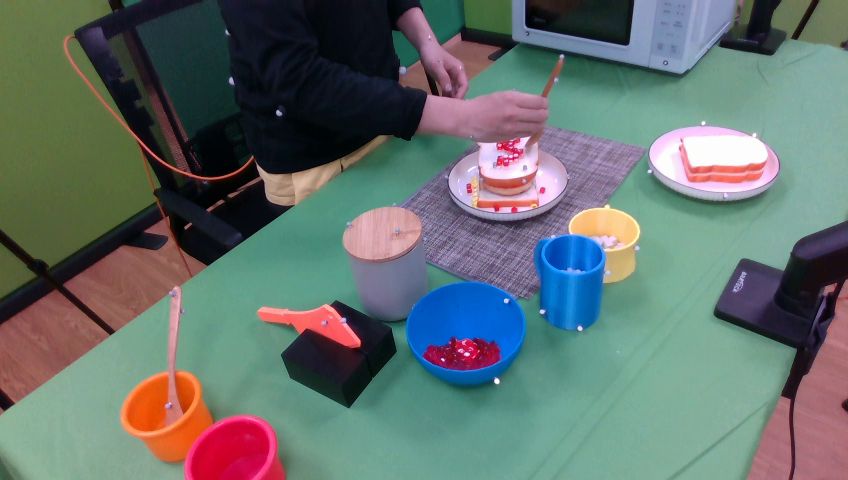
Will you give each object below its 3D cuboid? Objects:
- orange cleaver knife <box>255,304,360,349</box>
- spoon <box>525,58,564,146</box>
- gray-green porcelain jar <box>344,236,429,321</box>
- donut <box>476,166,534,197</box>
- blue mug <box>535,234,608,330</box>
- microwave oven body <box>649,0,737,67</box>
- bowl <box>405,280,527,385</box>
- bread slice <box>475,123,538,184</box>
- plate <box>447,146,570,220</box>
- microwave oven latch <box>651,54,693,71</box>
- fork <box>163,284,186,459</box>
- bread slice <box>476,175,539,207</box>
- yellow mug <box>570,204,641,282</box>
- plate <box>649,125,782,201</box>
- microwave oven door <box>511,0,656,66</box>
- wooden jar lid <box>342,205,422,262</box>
[{"bbox_3d":[-0.161,0.115,0.813,0.210,0.077,0.012,-4,32,47],"label":"orange cleaver knife"},{"bbox_3d":[0.181,-0.205,0.920,0.021,0.194,0.041,27,65,12],"label":"spoon"},{"bbox_3d":[-0.049,0.042,0.849,0.106,0.127,0.105,-4,41,4],"label":"gray-green porcelain jar"},{"bbox_3d":[0.138,-0.116,1.025,0.099,0.048,0.098,-8,55,12],"label":"donut"},{"bbox_3d":[0.191,0.048,0.824,0.082,0.106,0.115,-26,44,-21],"label":"blue mug"},{"bbox_3d":[0.475,-0.602,1.411,0.438,0.261,0.327,23,50,32],"label":"microwave oven body"},{"bbox_3d":[0.055,0.131,0.767,0.151,0.077,0.150,-4,40,4],"label":"bowl"},{"bbox_3d":[0.142,-0.144,1.009,0.107,0.018,0.133,-8,47,8],"label":"bread slice"},{"bbox_3d":[0.145,-0.098,1.046,0.209,0.038,0.208,-4,41,4],"label":"plate"},{"bbox_3d":[0.532,-0.386,1.301,0.078,0.029,0.030,27,52,34],"label":"microwave oven latch"},{"bbox_3d":[-0.302,0.157,0.733,0.028,0.019,0.207,-3,84,15],"label":"fork"},{"bbox_3d":[0.144,-0.103,1.058,0.105,0.019,0.131,-1,44,5],"label":"bread slice"},{"bbox_3d":[0.268,-0.005,0.904,0.099,0.064,0.130,7,41,15],"label":"yellow mug"},{"bbox_3d":[0.493,-0.128,1.036,0.207,0.039,0.206,-4,41,4],"label":"plate"},{"bbox_3d":[0.351,-0.539,1.349,0.353,0.245,0.039,24,50,31],"label":"microwave oven door"},{"bbox_3d":[-0.055,-0.006,0.808,0.108,0.021,0.108,-6,40,6],"label":"wooden jar lid"}]
